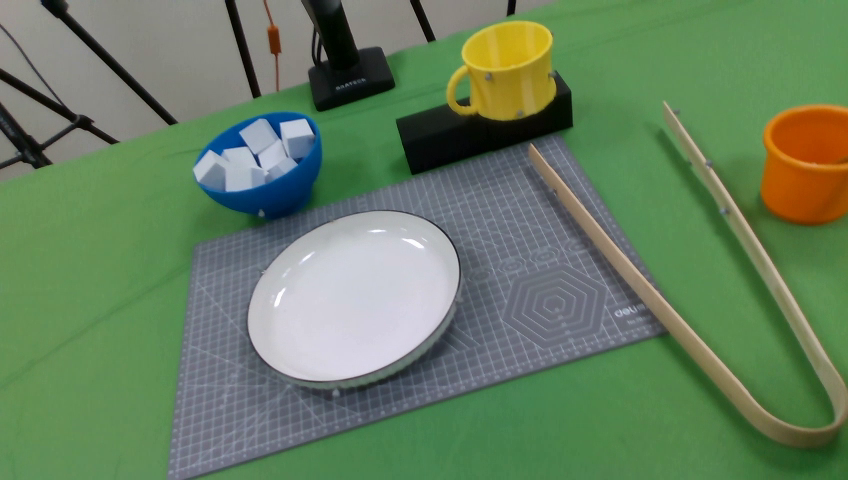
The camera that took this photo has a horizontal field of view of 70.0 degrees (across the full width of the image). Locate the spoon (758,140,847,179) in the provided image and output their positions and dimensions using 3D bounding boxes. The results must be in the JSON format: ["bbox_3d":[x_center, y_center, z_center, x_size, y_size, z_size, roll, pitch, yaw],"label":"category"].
[{"bbox_3d":[0.350,-0.075,0.491,0.041,0.193,0.021,-34,91,-12],"label":"spoon"}]

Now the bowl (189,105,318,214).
[{"bbox_3d":[-0.189,-0.085,0.719,0.151,0.077,0.150,-9,45,10],"label":"bowl"}]

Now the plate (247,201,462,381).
[{"bbox_3d":[-0.063,0.047,0.580,0.207,0.039,0.205,-9,46,10],"label":"plate"}]

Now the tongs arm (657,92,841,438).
[{"bbox_3d":[0.261,-0.012,0.541,0.051,0.027,0.380,-13,47,3],"label":"tongs arm"}]

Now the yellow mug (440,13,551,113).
[{"bbox_3d":[0.076,-0.192,0.677,0.131,0.064,0.099,-29,46,-9],"label":"yellow mug"}]

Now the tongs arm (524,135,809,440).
[{"bbox_3d":[0.182,0.013,0.542,0.028,0.028,0.383,-20,46,-9],"label":"tongs arm"}]
